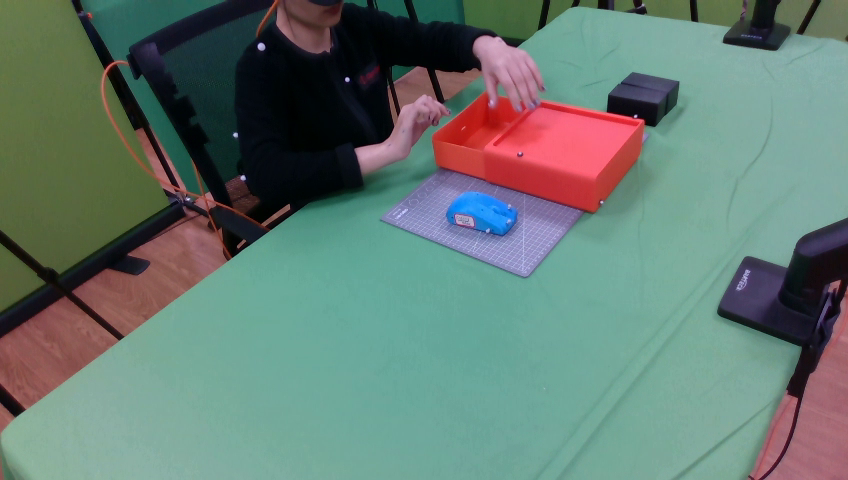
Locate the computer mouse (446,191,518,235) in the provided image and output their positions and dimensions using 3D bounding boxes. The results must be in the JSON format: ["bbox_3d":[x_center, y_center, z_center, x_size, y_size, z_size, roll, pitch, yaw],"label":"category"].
[{"bbox_3d":[0.096,-0.048,1.004,0.116,0.041,0.063,18,45,23],"label":"computer mouse"}]

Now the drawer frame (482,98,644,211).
[{"bbox_3d":[0.246,-0.158,1.071,0.212,0.083,0.202,21,48,30],"label":"drawer frame"}]

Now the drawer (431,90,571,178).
[{"bbox_3d":[0.154,-0.192,1.130,0.210,0.073,0.195,21,48,31],"label":"drawer"}]
